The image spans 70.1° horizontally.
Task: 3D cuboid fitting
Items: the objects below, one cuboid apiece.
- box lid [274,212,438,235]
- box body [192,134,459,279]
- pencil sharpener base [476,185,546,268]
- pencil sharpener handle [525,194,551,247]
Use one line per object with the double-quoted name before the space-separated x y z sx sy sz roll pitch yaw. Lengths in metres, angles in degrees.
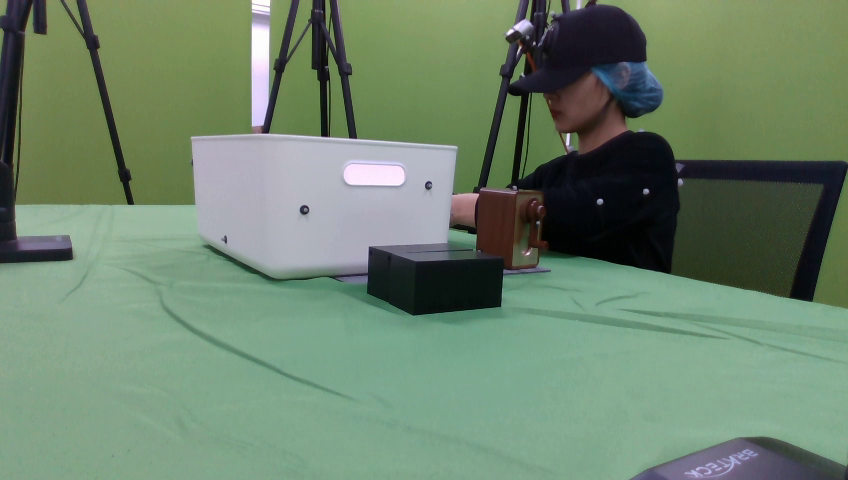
"box lid" -0.156 -0.037 1.283 0.264 0.015 0.370 -1 7 -25
"box body" -0.154 -0.059 0.840 0.255 0.160 0.362 -2 9 -33
"pencil sharpener base" 0.120 -0.019 0.825 0.062 0.107 0.076 -3 10 -40
"pencil sharpener handle" 0.153 -0.025 0.784 0.036 0.067 0.030 0 7 -41
